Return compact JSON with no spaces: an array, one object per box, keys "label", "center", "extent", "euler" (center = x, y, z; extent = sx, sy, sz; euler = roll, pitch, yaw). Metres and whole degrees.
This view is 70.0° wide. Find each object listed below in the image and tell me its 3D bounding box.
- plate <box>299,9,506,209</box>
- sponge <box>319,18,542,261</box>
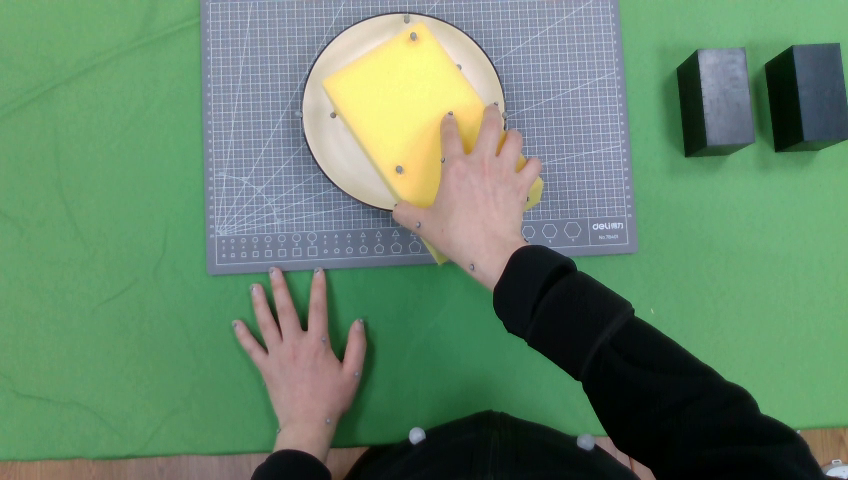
[{"label":"plate","center":[-0.021,-0.132,0.627],"extent":[0.209,0.038,0.208],"euler":[0,85,-2]},{"label":"sponge","center":[0.005,-0.098,0.588],"extent":[0.118,0.061,0.205],"euler":[-33,76,-5]}]
